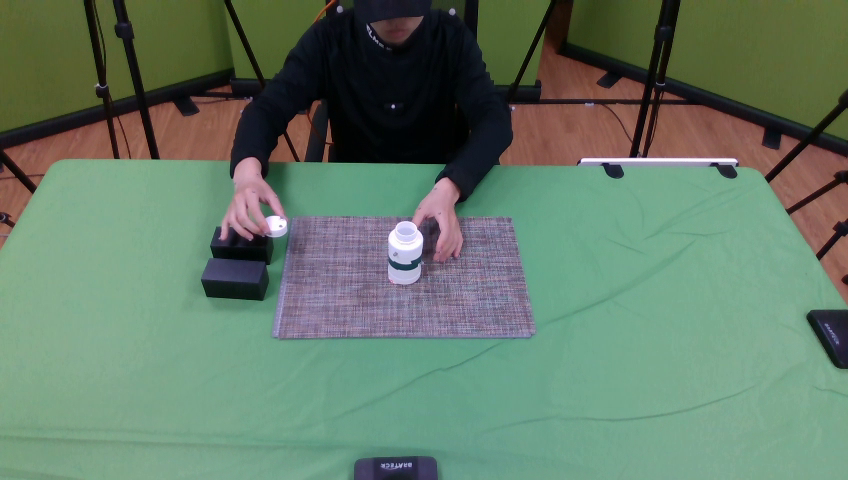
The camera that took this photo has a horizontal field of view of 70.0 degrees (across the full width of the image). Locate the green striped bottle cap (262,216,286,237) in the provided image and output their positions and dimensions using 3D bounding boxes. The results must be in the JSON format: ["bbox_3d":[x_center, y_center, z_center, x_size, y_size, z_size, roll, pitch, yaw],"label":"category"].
[{"bbox_3d":[-0.275,-0.024,1.108,0.044,0.020,0.044,6,39,-4],"label":"green striped bottle cap"}]

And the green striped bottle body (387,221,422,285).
[{"bbox_3d":[-0.035,0.021,1.103,0.063,0.120,0.063,2,46,-2],"label":"green striped bottle body"}]
